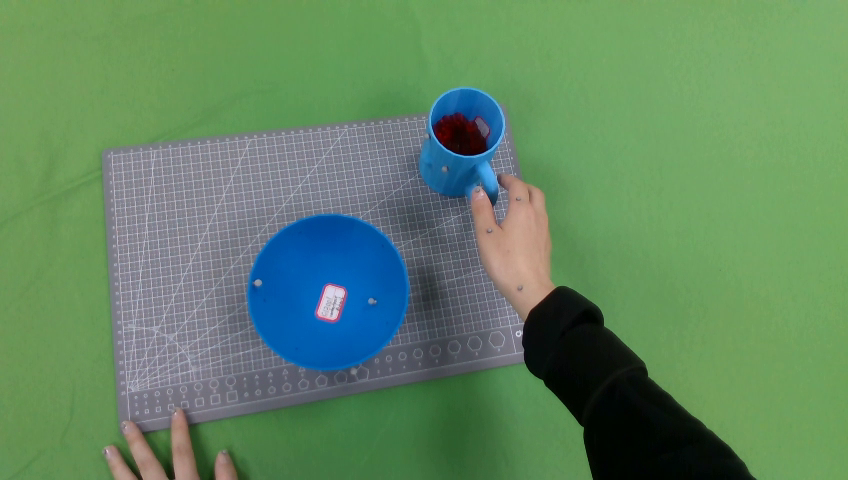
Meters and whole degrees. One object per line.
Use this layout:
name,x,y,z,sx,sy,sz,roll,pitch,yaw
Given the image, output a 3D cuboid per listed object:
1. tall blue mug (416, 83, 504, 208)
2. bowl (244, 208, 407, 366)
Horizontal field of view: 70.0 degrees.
tall blue mug,0.047,-0.095,0.637,0.107,0.108,0.077,37,74,4
bowl,-0.095,0.051,0.601,0.151,0.077,0.150,2,76,-6
